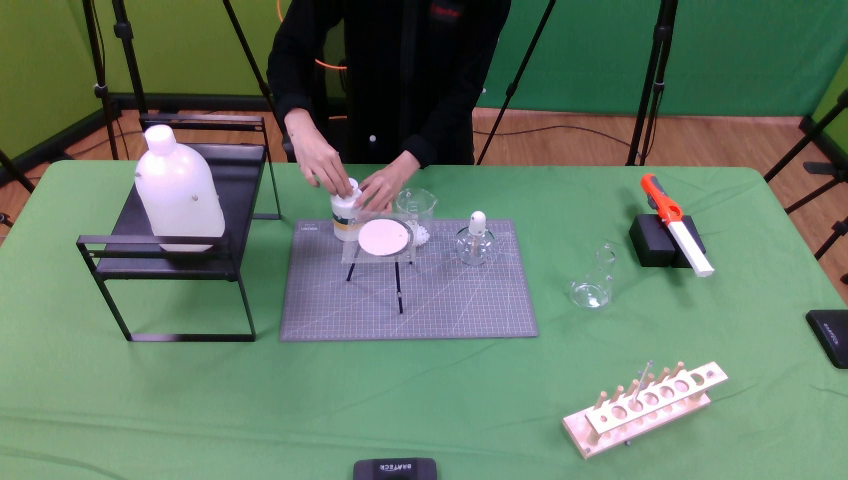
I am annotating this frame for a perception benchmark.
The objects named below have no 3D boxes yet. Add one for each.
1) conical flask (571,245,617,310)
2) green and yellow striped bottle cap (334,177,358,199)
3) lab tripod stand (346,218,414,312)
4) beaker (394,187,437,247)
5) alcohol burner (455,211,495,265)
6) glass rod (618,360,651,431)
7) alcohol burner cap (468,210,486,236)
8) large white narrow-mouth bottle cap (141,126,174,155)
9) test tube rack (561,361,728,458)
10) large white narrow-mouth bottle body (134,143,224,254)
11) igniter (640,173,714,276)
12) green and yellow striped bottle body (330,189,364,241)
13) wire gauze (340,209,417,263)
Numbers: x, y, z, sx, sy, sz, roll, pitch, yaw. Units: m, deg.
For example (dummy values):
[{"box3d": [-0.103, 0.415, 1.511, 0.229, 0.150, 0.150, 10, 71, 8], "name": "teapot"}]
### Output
[{"box3d": [0.313, 0.064, 1.089, 0.075, 0.122, 0.075, 2, 46, -2], "name": "conical flask"}, {"box3d": [-0.146, -0.098, 1.129, 0.045, 0.020, 0.045, 3, 44, -3], "name": "green and yellow striped bottle cap"}, {"box3d": [-0.070, 0.037, 1.075, 0.148, 0.132, 0.147, 1, 47, -1], "name": "lab tripod stand"}, {"box3d": [-0.018, -0.042, 1.179, 0.084, 0.101, 0.073, -9, 48, -13], "name": "beaker"}, {"box3d": [0.097, -0.010, 1.147, 0.078, 0.120, 0.077, 1, 47, 0], "name": "alcohol burner"}, {"box3d": [0.298, 0.227, 0.865, 0.008, 0.201, 0.008, -2, 48, 2], "name": "glass rod"}, {"box3d": [0.099, -0.034, 1.119, 0.034, 0.048, 0.033, 0, 53, 0], "name": "alcohol burner cap"}, {"box3d": [-0.356, -0.133, 0.810, 0.038, 0.024, 0.037, 2, 48, -1], "name": "large white narrow-mouth bottle cap"}, {"box3d": [0.341, 0.248, 0.940, 0.243, 0.085, 0.066, -15, 49, -18], "name": "test tube rack"}, {"box3d": [-0.358, -0.075, 0.875, 0.102, 0.195, 0.101, 1, 48, -1], "name": "large white narrow-mouth bottle body"}, {"box3d": [0.495, -0.039, 1.204, 0.057, 0.025, 0.274, -2, 47, -12], "name": "igniter"}, {"box3d": [-0.148, -0.059, 1.170, 0.063, 0.120, 0.063, 2, 47, -2], "name": "green and yellow striped bottle body"}, {"box3d": [-0.074, -0.007, 1.023, 0.121, 0.011, 0.124, 3, 46, 0], "name": "wire gauze"}]
